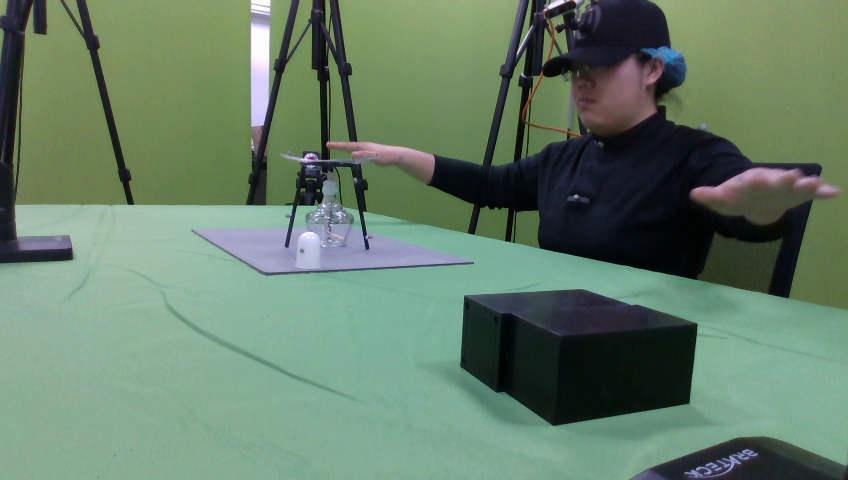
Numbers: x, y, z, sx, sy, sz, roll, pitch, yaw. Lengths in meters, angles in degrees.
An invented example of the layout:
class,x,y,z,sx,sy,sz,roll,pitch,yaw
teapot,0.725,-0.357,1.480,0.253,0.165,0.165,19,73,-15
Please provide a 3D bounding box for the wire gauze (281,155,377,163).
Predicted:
class,x,y,z,sx,sy,sz,roll,pitch,yaw
wire gauze,-0.147,-0.124,0.936,0.122,0.011,0.124,-2,7,-31

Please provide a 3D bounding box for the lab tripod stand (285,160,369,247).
class,x,y,z,sx,sy,sz,roll,pitch,yaw
lab tripod stand,-0.151,-0.058,0.947,0.148,0.131,0.148,1,6,0

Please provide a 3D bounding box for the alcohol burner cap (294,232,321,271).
class,x,y,z,sx,sy,sz,roll,pitch,yaw
alcohol burner cap,-0.144,0.013,0.748,0.034,0.048,0.034,3,6,0

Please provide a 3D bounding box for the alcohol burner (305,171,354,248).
class,x,y,z,sx,sy,sz,roll,pitch,yaw
alcohol burner,-0.148,-0.048,0.949,0.078,0.119,0.078,1,6,0
